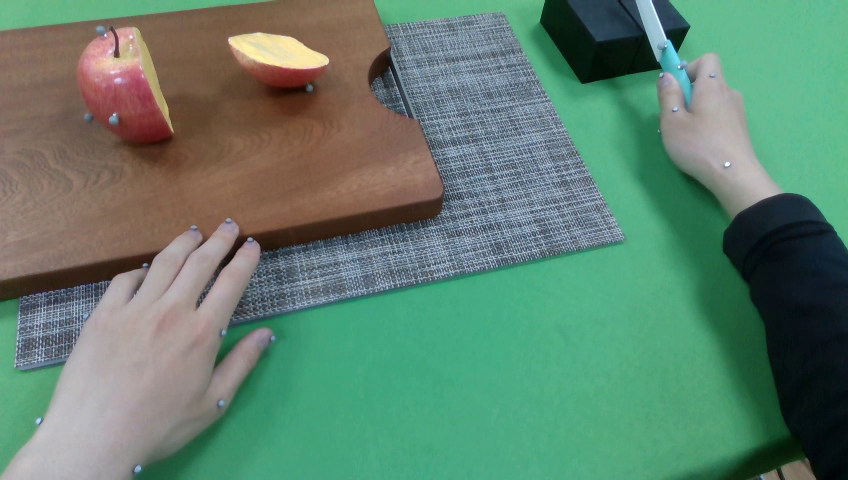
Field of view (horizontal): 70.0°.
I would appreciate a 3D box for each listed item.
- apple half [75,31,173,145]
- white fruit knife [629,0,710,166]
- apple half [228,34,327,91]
[{"bbox_3d":[-0.228,-0.110,0.456,0.053,0.075,0.080,-20,64,-13],"label":"apple half"},{"bbox_3d":[0.215,-0.167,0.551,0.016,0.027,0.206,-16,80,-13],"label":"white fruit knife"},{"bbox_3d":[-0.126,-0.143,0.507,0.081,0.033,0.080,13,34,-9],"label":"apple half"}]
